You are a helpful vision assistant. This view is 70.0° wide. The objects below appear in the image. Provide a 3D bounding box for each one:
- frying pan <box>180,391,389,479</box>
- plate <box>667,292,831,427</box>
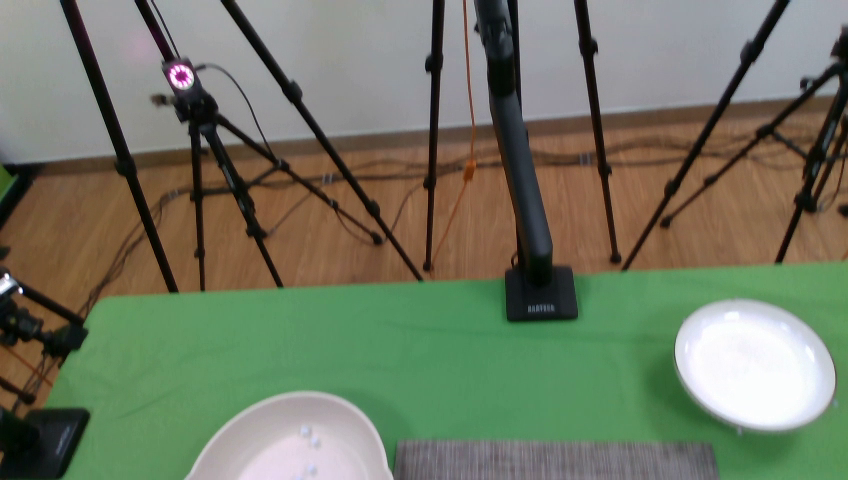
[{"bbox_3d":[-0.201,0.427,0.776,0.306,0.104,0.483,-4,40,8],"label":"frying pan"},{"bbox_3d":[0.452,0.169,0.857,0.207,0.039,0.205,-5,50,7],"label":"plate"}]
